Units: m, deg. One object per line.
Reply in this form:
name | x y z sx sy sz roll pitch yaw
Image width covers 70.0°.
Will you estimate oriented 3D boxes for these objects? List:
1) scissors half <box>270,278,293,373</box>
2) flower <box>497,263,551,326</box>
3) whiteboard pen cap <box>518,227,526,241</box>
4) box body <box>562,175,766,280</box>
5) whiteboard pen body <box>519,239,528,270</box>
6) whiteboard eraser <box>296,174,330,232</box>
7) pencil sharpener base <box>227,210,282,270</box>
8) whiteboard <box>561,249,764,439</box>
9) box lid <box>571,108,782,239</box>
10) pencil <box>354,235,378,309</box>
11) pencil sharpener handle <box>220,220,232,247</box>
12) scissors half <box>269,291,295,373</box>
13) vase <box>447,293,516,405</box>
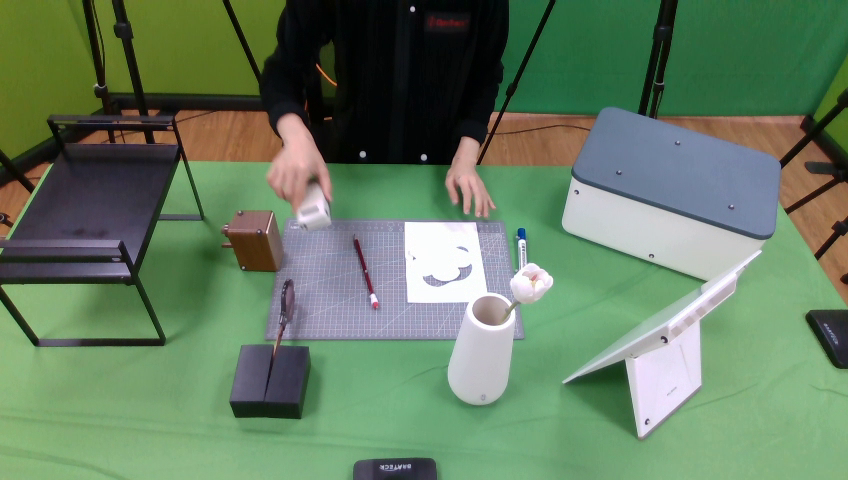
scissors half | -0.236 0.137 0.994 0.013 0.040 0.174 0 55 3
flower | 0.102 0.121 0.853 0.044 0.363 0.038 -2 64 -10
whiteboard pen cap | 0.197 -0.009 1.220 0.018 0.018 0.033 5 50 1
box body | 0.486 -0.088 1.222 0.363 0.161 0.253 20 48 15
whiteboard pen body | 0.193 0.035 1.181 0.017 0.017 0.140 6 48 1
whiteboard eraser | -0.198 -0.064 1.082 0.055 0.042 0.112 -15 48 3
pencil sharpener base | -0.311 0.001 1.112 0.077 0.107 0.061 1 47 1
whiteboard | 0.386 0.176 0.905 0.217 0.306 0.143 -26 72 -26
box lid | 0.491 -0.139 1.168 0.370 0.015 0.262 21 49 15
pencil | -0.113 0.055 1.142 0.012 0.012 0.192 -10 46 -13
pencil sharpener handle | -0.362 -0.009 1.105 0.030 0.068 0.036 1 52 1
scissors half | -0.237 0.151 1.009 0.013 0.040 0.174 4 38 0
vase | 0.091 0.169 0.921 0.098 0.201 0.097 3 47 -3
